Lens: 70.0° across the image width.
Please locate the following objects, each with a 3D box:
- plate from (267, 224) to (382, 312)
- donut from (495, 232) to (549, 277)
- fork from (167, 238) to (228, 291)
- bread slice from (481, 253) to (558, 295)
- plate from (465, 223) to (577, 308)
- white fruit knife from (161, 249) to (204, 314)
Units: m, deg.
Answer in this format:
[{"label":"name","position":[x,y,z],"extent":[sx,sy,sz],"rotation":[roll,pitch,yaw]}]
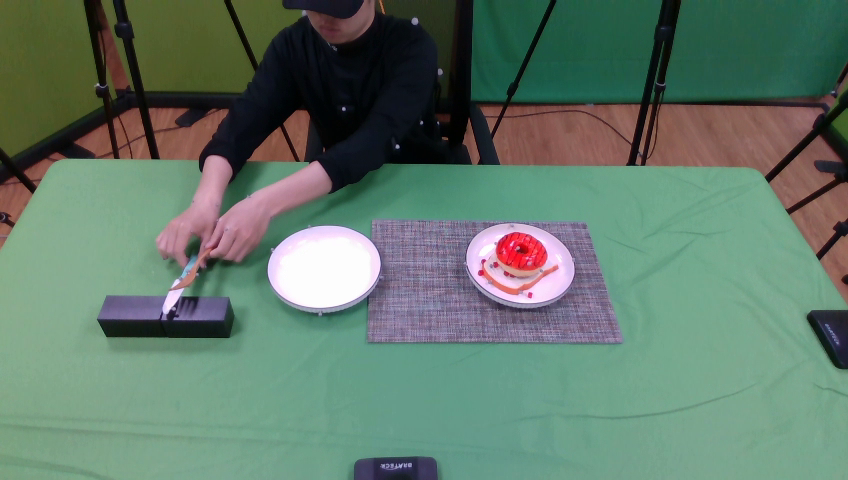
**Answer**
[{"label":"plate","position":[-0.182,0.055,1.120],"extent":[0.208,0.039,0.206],"rotation":[2,46,-2]},{"label":"donut","position":[0.180,0.026,1.119],"extent":[0.099,0.048,0.098],"rotation":[2,46,-2]},{"label":"fork","position":[-0.393,0.040,1.071],"extent":[0.028,0.019,0.206],"rotation":[1,27,8]},{"label":"bread slice","position":[0.177,0.050,1.148],"extent":[0.131,0.019,0.104],"rotation":[-32,55,-31]},{"label":"plate","position":[0.180,0.051,1.144],"extent":[0.209,0.038,0.208],"rotation":[2,46,-2]},{"label":"white fruit knife","position":[-0.421,0.070,1.062],"extent":[0.027,0.016,0.206],"rotation":[2,29,-4]}]
